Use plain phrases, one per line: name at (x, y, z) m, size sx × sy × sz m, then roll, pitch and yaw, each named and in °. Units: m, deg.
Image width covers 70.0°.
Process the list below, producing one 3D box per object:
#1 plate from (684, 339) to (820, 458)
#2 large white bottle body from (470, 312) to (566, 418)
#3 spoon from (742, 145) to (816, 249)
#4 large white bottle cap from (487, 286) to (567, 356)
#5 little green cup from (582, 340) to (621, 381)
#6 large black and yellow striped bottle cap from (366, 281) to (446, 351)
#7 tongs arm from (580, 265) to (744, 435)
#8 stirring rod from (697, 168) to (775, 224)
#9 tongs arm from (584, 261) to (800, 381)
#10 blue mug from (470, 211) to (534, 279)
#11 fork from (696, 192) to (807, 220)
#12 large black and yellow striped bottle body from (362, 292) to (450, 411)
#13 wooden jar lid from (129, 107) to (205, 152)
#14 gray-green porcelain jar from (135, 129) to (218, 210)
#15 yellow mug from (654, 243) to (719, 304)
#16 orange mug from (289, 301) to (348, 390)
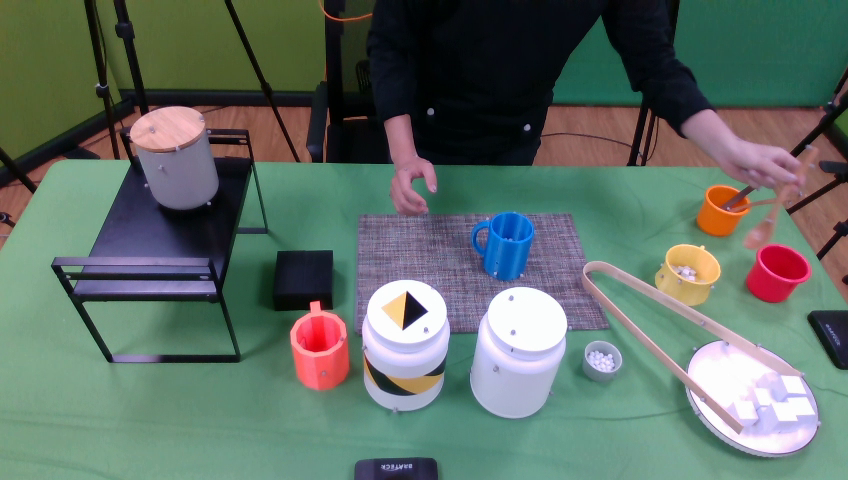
plate at (0.523, 0.256, 0.982) m, size 0.208 × 0.039 × 0.206 m, roll 2°, pitch 46°, yaw -2°
large white bottle body at (0.143, 0.173, 0.930) m, size 0.131 × 0.185 × 0.130 m, roll 2°, pitch 46°, yaw -2°
spoon at (0.588, -0.070, 0.999) m, size 0.022 × 0.194 × 0.041 m, roll 20°, pitch 14°, yaw -24°
large white bottle cap at (0.147, 0.114, 0.869) m, size 0.115 × 0.018 × 0.114 m, roll 3°, pitch 46°, yaw -3°
little green cup at (0.295, 0.204, 1.015) m, size 0.061 × 0.039 × 0.061 m, roll 2°, pitch 45°, yaw -2°
large black and yellow striped bottle cap at (-0.025, 0.106, 0.865) m, size 0.115 × 0.019 × 0.114 m, roll 2°, pitch 46°, yaw -1°
tongs arm at (0.384, 0.172, 1.028) m, size 0.028 × 0.028 × 0.385 m, roll -25°, pitch 46°, yaw -15°
stirring rod at (0.644, -0.090, 1.252) m, size 0.176 × 0.006 × 0.014 m, roll -39°, pitch 55°, yaw 17°
tongs arm at (0.451, 0.136, 1.063) m, size 0.051 × 0.027 × 0.382 m, roll -34°, pitch 50°, yaw -27°
blue mug at (0.141, 0.005, 1.140) m, size 0.116 × 0.106 × 0.082 m, roll 18°, pitch 48°, yaw 13°
fork at (0.655, -0.069, 1.224) m, size 0.207 × 0.019 × 0.028 m, roll -17°, pitch 32°, yaw 45°
large black and yellow striped bottle body at (-0.029, 0.163, 0.928) m, size 0.131 × 0.185 × 0.130 m, roll 2°, pitch 47°, yaw -2°
wooden jar lid at (-0.385, -0.163, 0.915) m, size 0.108 × 0.021 × 0.107 m, roll 2°, pitch 47°, yaw -2°
gray-green porcelain jar at (-0.388, -0.120, 0.960) m, size 0.106 × 0.127 × 0.105 m, roll 2°, pitch 46°, yaw -2°
yellow mug at (0.504, 0.054, 1.154) m, size 0.099 × 0.064 × 0.130 m, roll 28°, pitch 49°, yaw 22°
orange mug at (-0.170, 0.162, 0.976) m, size 0.083 × 0.101 × 0.125 m, roll -7°, pitch 52°, yaw -11°
